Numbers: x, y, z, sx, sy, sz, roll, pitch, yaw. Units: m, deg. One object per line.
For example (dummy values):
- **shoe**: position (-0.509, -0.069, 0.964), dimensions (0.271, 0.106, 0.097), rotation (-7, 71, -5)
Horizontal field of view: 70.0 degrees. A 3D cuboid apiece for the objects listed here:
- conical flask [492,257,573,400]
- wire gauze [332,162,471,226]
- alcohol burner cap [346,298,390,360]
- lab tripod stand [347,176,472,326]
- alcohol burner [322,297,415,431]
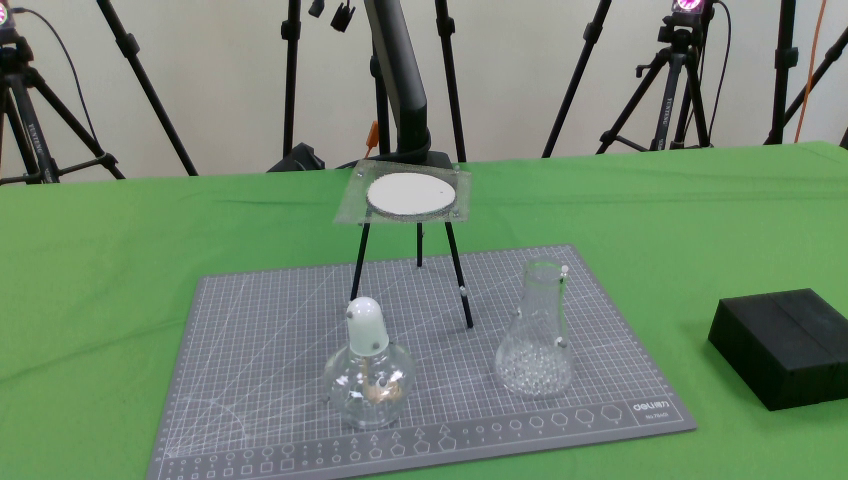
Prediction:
- **conical flask**: position (0.100, 0.074, 0.533), dimensions (0.075, 0.123, 0.074), rotation (0, 32, 0)
- **wire gauze**: position (-0.016, -0.044, 0.586), dimensions (0.121, 0.011, 0.124), rotation (4, 32, 4)
- **alcohol burner cap**: position (-0.046, 0.068, 0.481), dimensions (0.034, 0.048, 0.033), rotation (-5, 35, 4)
- **lab tripod stand**: position (-0.010, 0.012, 0.622), dimensions (0.148, 0.132, 0.147), rotation (2, 31, -1)
- **alcohol burner**: position (-0.047, 0.098, 0.501), dimensions (0.078, 0.120, 0.077), rotation (0, 30, 1)
